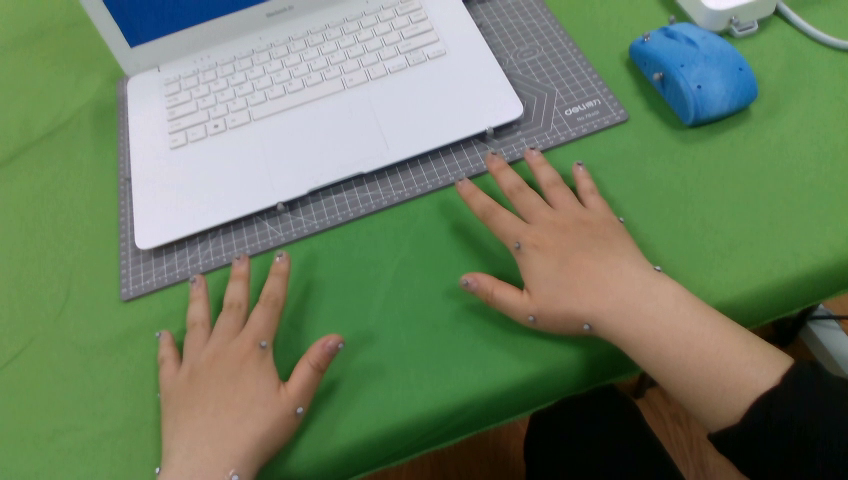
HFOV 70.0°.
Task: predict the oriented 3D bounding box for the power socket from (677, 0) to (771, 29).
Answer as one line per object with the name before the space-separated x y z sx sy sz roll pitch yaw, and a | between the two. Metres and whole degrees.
power socket | 0.257 -0.289 0.593 0.072 0.033 0.224 -18 56 0

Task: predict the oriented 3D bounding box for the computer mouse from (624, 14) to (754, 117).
computer mouse | 0.221 -0.155 0.512 0.063 0.041 0.116 -21 51 1

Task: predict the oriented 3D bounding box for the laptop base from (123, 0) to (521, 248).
laptop base | -0.112 -0.139 0.581 0.354 0.023 0.233 -21 59 -2

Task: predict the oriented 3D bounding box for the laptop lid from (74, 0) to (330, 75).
laptop lid | -0.177 -0.311 0.565 0.357 0.244 0.013 -22 43 -1
